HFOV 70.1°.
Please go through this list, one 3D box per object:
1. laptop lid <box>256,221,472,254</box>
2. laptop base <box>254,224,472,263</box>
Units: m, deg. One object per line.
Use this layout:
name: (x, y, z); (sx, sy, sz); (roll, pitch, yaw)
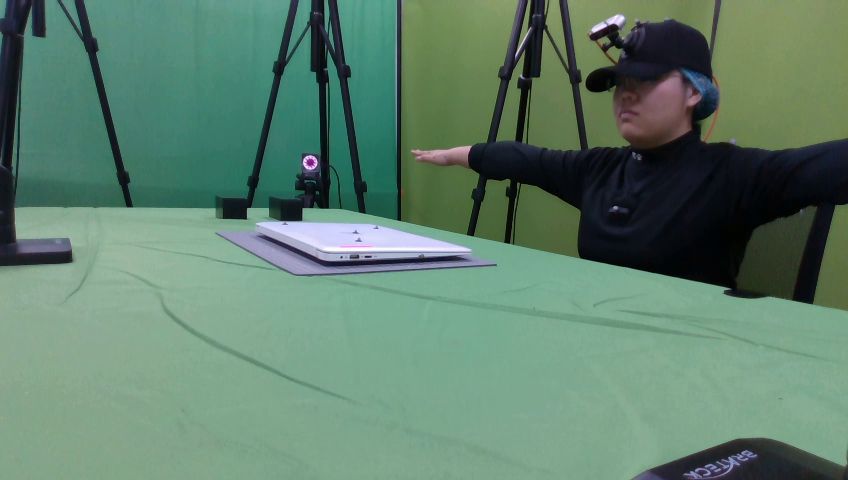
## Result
laptop lid: (-0.112, -0.007, 0.972); (0.243, 0.013, 0.355); (1, 7, -29)
laptop base: (-0.115, 0.005, 0.973); (0.237, 0.023, 0.352); (2, 6, -31)
